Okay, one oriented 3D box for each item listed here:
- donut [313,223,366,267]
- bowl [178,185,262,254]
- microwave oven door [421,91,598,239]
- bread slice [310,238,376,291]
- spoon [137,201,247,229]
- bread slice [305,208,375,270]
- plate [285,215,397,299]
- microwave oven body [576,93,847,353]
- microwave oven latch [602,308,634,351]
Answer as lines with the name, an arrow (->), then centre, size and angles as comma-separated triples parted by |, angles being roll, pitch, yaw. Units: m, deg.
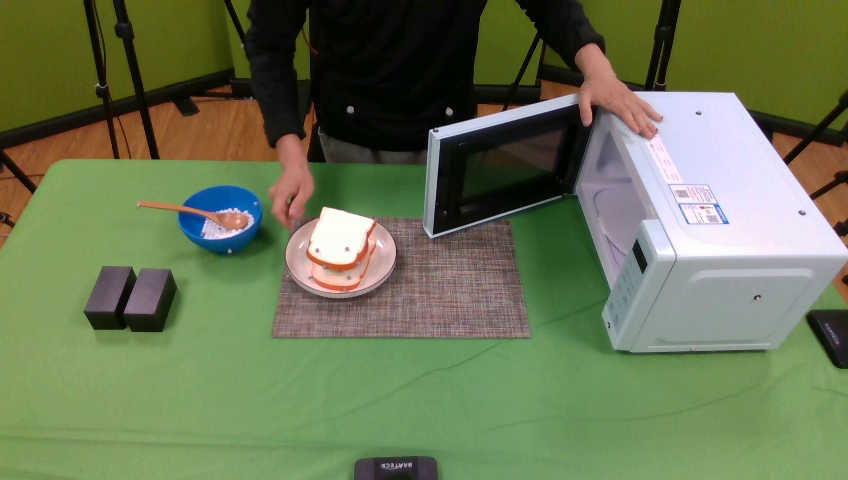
donut -> -0.157, 0.010, 1.119 | 0.099, 0.048, 0.098 | -2, 43, 2
bowl -> -0.383, -0.027, 1.158 | 0.151, 0.077, 0.150 | 2, 46, -2
microwave oven door -> 0.166, -0.147, 1.182 | 0.356, 0.245, 0.039 | -18, 49, -20
bread slice -> -0.154, 0.039, 1.135 | 0.107, 0.018, 0.133 | 7, 46, 3
spoon -> -0.431, -0.052, 1.135 | 0.194, 0.022, 0.041 | 14, 45, -22
bread slice -> -0.154, -0.001, 1.095 | 0.105, 0.019, 0.131 | 15, 48, 1
plate -> -0.154, 0.034, 1.141 | 0.208, 0.039, 0.206 | 2, 45, -2
microwave oven body -> 0.475, -0.041, 1.109 | 0.326, 0.261, 0.438 | -1, 45, -4
microwave oven latch -> 0.332, 0.153, 1.044 | 0.030, 0.029, 0.078 | -1, 45, -4
